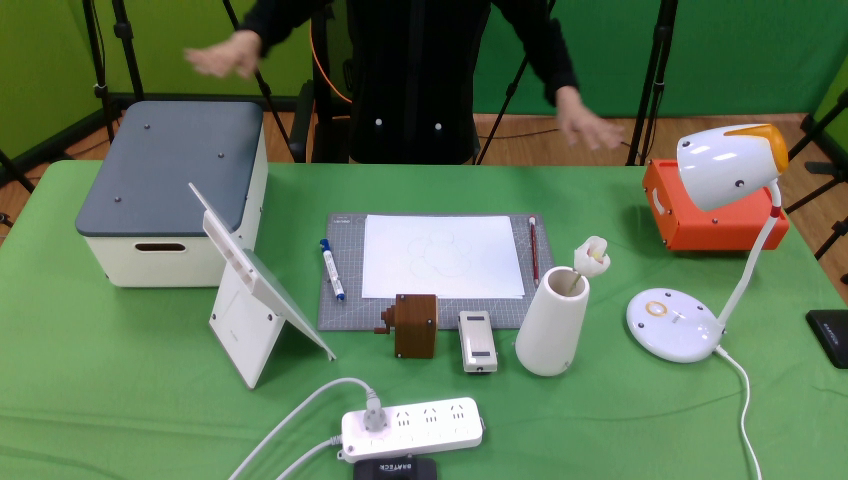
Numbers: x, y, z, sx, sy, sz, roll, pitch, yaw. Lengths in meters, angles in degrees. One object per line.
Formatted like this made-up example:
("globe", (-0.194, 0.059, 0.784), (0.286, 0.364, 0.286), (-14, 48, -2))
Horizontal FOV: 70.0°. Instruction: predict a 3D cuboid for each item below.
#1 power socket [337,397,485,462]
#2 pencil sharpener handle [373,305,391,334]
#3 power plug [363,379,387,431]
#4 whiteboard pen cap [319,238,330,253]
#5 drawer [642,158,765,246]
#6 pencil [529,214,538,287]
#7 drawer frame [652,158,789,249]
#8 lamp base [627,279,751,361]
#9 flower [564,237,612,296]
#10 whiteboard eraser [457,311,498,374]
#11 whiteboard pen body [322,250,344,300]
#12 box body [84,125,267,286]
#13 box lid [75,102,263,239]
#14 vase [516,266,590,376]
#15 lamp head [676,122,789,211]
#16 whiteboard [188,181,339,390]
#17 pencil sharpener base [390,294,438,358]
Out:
("power socket", (-0.018, 0.285, 0.915), (0.227, 0.033, 0.071), (-5, 46, -8))
("pencil sharpener handle", (-0.069, 0.133, 0.989), (0.030, 0.068, 0.036), (1, 47, -2))
("power plug", (-0.072, 0.252, 0.910), (0.035, 0.053, 0.072), (3, 45, -1))
("whiteboard pen cap", (-0.191, 0.013, 1.163), (0.018, 0.018, 0.033), (-12, 49, -16))
("drawer", (0.566, -0.076, 1.211), (0.212, 0.073, 0.193), (2, 45, -2))
("pencil", (0.219, 0.019, 1.202), (0.012, 0.012, 0.193), (5, 47, 1))
("drawer frame", (0.571, -0.075, 1.214), (0.214, 0.083, 0.200), (0, 45, -1))
("lamp base", (0.459, 0.100, 1.027), (0.178, 0.181, 0.160), (27, 51, 17))
("flower", (0.206, 0.088, 0.893), (0.038, 0.363, 0.044), (-16, 67, -9))
("whiteboard eraser", (0.089, 0.173, 1.025), (0.055, 0.042, 0.112), (-2, 47, -4))
("whiteboard pen body", (-0.173, 0.056, 1.127), (0.017, 0.017, 0.140), (-12, 49, -16))
("box body", (-0.446, -0.088, 1.150), (0.254, 0.161, 0.361), (-1, 46, -5))
("box lid", (-0.443, -0.138, 1.094), (0.263, 0.015, 0.369), (-1, 47, -5))
("vase", (0.208, 0.132, 0.965), (0.098, 0.201, 0.097), (3, 46, -3))
("lamp head", (0.423, -0.104, 0.819), (0.122, 0.113, 0.112), (-13, 33, 40))
("whiteboard", (-0.292, 0.096, 0.929), (0.144, 0.307, 0.216), (-38, 57, -10))
("pencil sharpener base", (-0.018, 0.143, 1.000), (0.077, 0.107, 0.061), (1, 46, -2))
